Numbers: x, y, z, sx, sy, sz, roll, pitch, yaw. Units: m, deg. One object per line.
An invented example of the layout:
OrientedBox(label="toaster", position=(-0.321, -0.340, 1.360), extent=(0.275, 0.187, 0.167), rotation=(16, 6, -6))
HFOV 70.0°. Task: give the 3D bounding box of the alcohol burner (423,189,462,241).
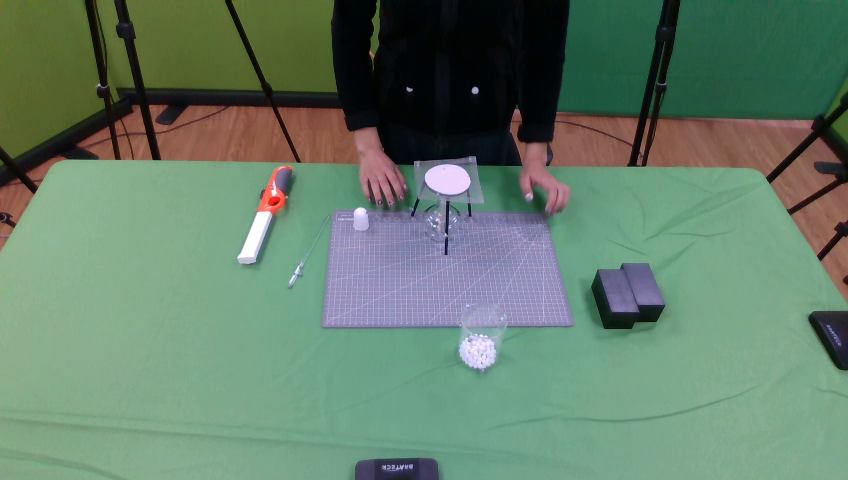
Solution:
OrientedBox(label="alcohol burner", position=(0.037, -0.055, 1.186), extent=(0.078, 0.120, 0.077), rotation=(1, 48, -1))

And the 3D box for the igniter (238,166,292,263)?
OrientedBox(label="igniter", position=(-0.319, -0.060, 1.229), extent=(0.057, 0.025, 0.275), rotation=(-2, 45, 10))

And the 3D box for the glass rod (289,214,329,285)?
OrientedBox(label="glass rod", position=(-0.221, 0.014, 1.179), extent=(0.008, 0.008, 0.199), rotation=(12, 46, 8))

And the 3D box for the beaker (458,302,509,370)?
OrientedBox(label="beaker", position=(0.092, 0.159, 0.999), extent=(0.083, 0.101, 0.074), rotation=(35, 53, 28))

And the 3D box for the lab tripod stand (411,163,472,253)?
OrientedBox(label="lab tripod stand", position=(0.042, -0.069, 1.186), extent=(0.148, 0.132, 0.147), rotation=(3, 47, -3))

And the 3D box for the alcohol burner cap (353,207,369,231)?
OrientedBox(label="alcohol burner cap", position=(-0.127, -0.046, 1.215), extent=(0.034, 0.048, 0.033), rotation=(2, 47, -2))

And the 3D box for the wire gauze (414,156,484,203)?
OrientedBox(label="wire gauze", position=(0.045, -0.114, 1.136), extent=(0.125, 0.011, 0.120), rotation=(-1, 48, -4))
